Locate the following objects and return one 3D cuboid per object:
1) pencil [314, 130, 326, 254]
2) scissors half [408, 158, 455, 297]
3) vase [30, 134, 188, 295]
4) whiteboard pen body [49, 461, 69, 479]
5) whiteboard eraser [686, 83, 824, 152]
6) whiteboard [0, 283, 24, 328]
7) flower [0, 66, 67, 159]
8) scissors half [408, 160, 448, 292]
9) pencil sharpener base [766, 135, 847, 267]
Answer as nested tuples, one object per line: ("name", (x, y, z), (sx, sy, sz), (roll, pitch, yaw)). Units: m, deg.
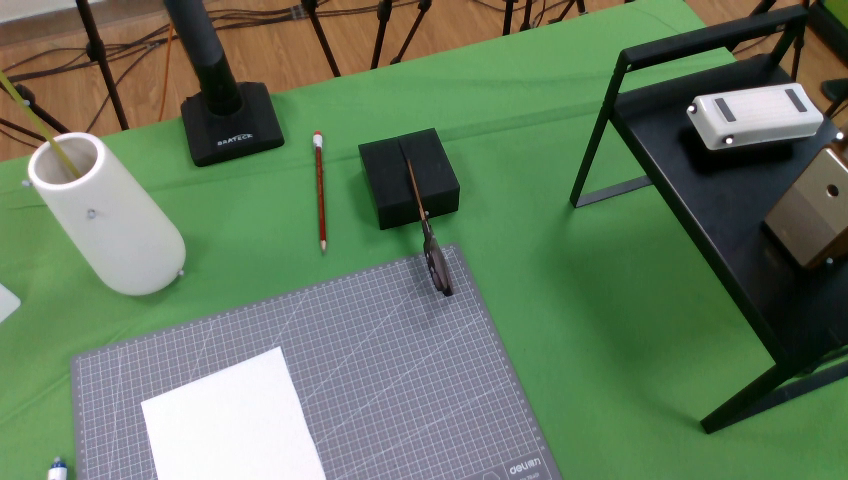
("pencil", (-0.133, -0.065, 0.778), (0.012, 0.012, 0.192), (-6, 60, -4))
("scissors half", (0.007, -0.017, 0.710), (0.013, 0.040, 0.174), (-20, 79, 15))
("vase", (-0.326, -0.021, 0.639), (0.098, 0.201, 0.097), (0, 58, 1))
("whiteboard pen body", (-0.345, 0.277, 0.562), (0.017, 0.017, 0.139), (-11, 57, -7))
("whiteboard eraser", (0.317, -0.116, 0.585), (0.113, 0.042, 0.055), (-9, 60, -6))
("whiteboard", (-0.612, 0.026, 0.580), (0.142, 0.309, 0.216), (22, 59, 35))
("flower", (-0.337, -0.074, 0.573), (0.044, 0.365, 0.038), (-23, 44, -10))
("scissors half", (0.000, -0.022, 0.692), (0.013, 0.040, 0.173), (-19, 61, 9))
("pencil sharpener base", (0.351, -0.036, 0.498), (0.077, 0.108, 0.061), (-18, 60, -11))
